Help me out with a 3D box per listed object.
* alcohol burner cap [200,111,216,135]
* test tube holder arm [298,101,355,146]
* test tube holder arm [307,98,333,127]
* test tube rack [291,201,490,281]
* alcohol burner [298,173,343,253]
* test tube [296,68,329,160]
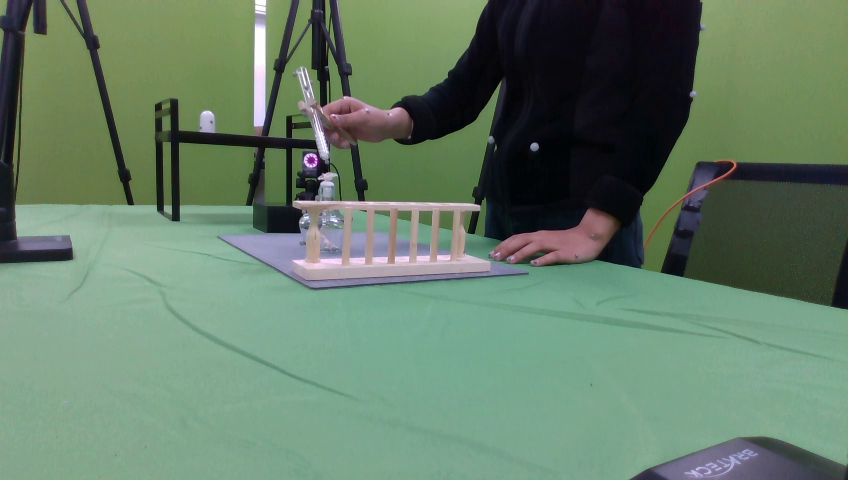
[{"bbox_3d":[-0.448,-0.243,1.255,0.034,0.048,0.034,2,7,0],"label":"alcohol burner cap"},{"bbox_3d":[-0.151,-0.182,0.962,0.013,0.015,0.179,-14,-12,15],"label":"test tube holder arm"},{"bbox_3d":[-0.157,-0.191,0.918,0.010,0.015,0.088,-13,-12,7],"label":"test tube holder arm"},{"bbox_3d":[-0.035,-0.002,0.745,0.243,0.085,0.066,-1,8,-28],"label":"test tube rack"},{"bbox_3d":[-0.146,-0.040,0.894,0.078,0.119,0.078,5,7,0],"label":"alcohol burner"},{"bbox_3d":[-0.165,-0.187,0.895,0.017,0.150,0.017,-16,-13,-3],"label":"test tube"}]
